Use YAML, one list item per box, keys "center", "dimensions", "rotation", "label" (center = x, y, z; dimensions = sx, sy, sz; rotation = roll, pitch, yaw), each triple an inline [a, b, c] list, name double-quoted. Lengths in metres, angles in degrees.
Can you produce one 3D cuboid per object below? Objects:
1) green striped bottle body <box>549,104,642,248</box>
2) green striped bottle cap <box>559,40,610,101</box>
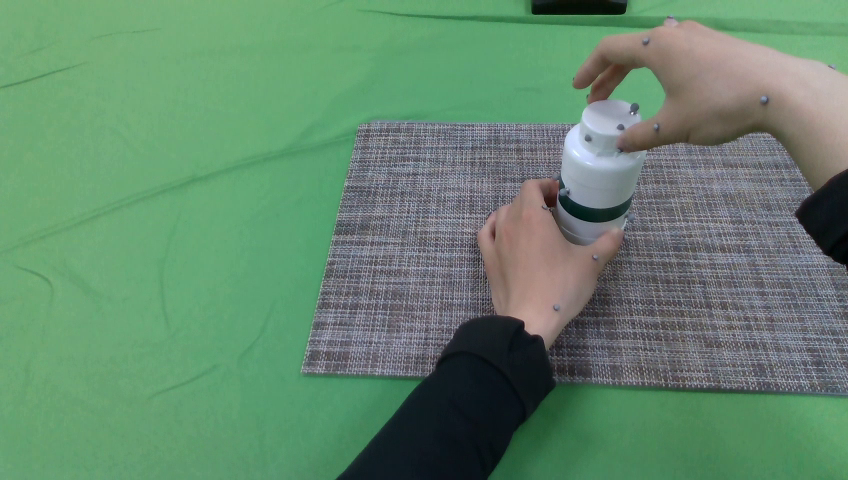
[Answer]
- center: [0.141, -0.053, 0.501]
  dimensions: [0.063, 0.120, 0.062]
  rotation: [-2, 50, 2]
  label: "green striped bottle body"
- center: [0.126, -0.133, 0.475]
  dimensions: [0.020, 0.045, 0.044]
  rotation: [36, 61, 20]
  label: "green striped bottle cap"
